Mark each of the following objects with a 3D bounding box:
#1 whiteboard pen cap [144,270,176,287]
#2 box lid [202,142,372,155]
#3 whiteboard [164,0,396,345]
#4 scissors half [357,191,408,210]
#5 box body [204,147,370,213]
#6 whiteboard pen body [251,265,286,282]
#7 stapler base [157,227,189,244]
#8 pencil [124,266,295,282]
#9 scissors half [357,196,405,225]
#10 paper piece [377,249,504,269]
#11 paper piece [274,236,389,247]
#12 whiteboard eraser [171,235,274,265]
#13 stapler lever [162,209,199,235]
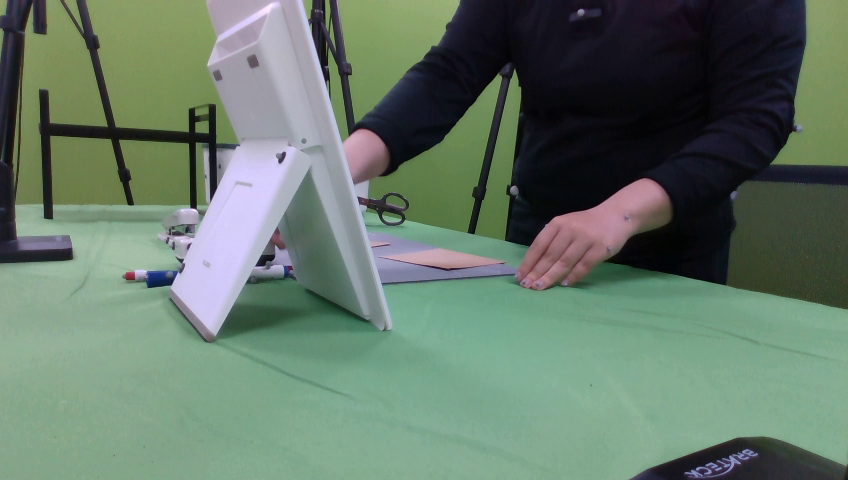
[{"bbox_3d":[-0.271,0.039,0.627,0.033,0.018,0.018,-4,10,-33],"label":"whiteboard pen cap"},{"bbox_3d":[-0.344,-0.225,1.509,0.373,0.015,0.262,-2,8,-31],"label":"box lid"},{"bbox_3d":[-0.172,-0.053,0.511,0.144,0.305,0.216,-23,20,-26],"label":"whiteboard"},{"bbox_3d":[-0.122,-0.091,1.318,0.175,0.040,0.013,5,12,-3],"label":"scissors half"},{"bbox_3d":[-0.346,-0.152,1.520,0.366,0.160,0.253,-1,9,-31],"label":"box body"},{"bbox_3d":[-0.219,0.040,0.656,0.141,0.017,0.017,-3,9,-30],"label":"whiteboard pen body"},{"bbox_3d":[-0.376,-0.008,0.935,0.041,0.024,0.130,0,5,-38],"label":"stapler base"},{"bbox_3d":[-0.230,0.037,0.683,0.195,0.012,0.012,-2,9,-27],"label":"pencil"},{"bbox_3d":[-0.127,-0.072,1.322,0.175,0.040,0.013,22,5,-5],"label":"scissors half"},{"bbox_3d":[0.026,0.026,0.865,0.134,0.004,0.136,9,9,43],"label":"paper piece"},{"bbox_3d":[-0.151,0.003,0.978,0.135,0.008,0.139,13,10,35],"label":"paper piece"},{"bbox_3d":[-0.248,0.014,0.747,0.113,0.042,0.055,-2,9,-32],"label":"whiteboard eraser"},{"bbox_3d":[-0.376,-0.031,0.933,0.027,0.040,0.117,0,7,-38],"label":"stapler lever"}]
